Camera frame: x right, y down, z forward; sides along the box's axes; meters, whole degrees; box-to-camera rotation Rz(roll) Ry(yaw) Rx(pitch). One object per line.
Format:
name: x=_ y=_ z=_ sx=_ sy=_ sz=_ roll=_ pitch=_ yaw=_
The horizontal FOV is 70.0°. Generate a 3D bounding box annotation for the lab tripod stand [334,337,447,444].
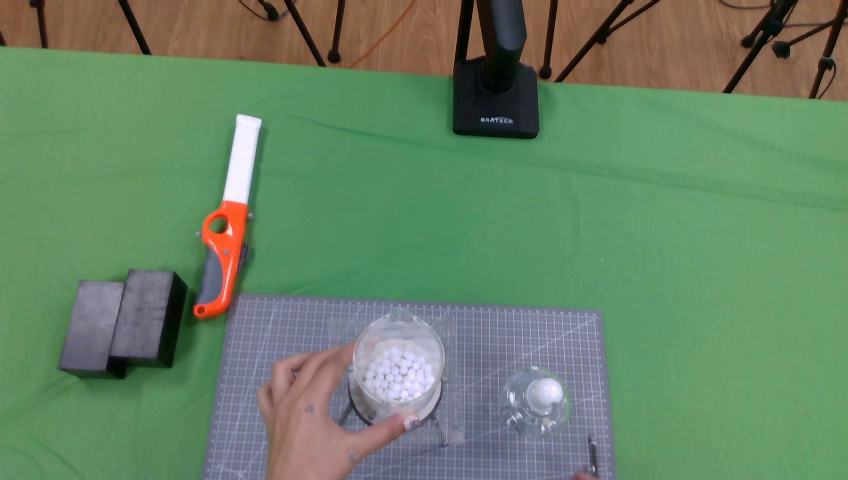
lab tripod stand: x=-0.031 y=0.157 z=0.630 sx=0.148 sy=0.132 sz=0.147 roll=1 pitch=66 yaw=-2

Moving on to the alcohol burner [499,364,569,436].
alcohol burner: x=0.121 y=0.167 z=0.647 sx=0.078 sy=0.120 sz=0.077 roll=1 pitch=65 yaw=-2

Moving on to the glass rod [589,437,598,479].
glass rod: x=0.188 y=0.315 z=0.648 sx=0.008 sy=0.008 sz=0.198 roll=2 pitch=67 yaw=-3

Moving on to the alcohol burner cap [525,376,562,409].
alcohol burner cap: x=0.124 y=0.153 z=0.614 sx=0.034 sy=0.048 sz=0.033 roll=2 pitch=71 yaw=-5

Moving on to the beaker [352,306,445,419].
beaker: x=-0.022 y=0.111 z=0.525 sx=0.074 sy=0.101 sz=0.083 roll=0 pitch=66 yaw=-3

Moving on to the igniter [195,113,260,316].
igniter: x=-0.240 y=-0.037 z=0.756 sx=0.057 sy=0.025 sz=0.274 roll=10 pitch=66 yaw=-16

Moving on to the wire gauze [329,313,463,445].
wire gauze: x=-0.028 y=0.128 z=0.570 sx=0.125 sy=0.011 sz=0.120 roll=-2 pitch=65 yaw=-3
